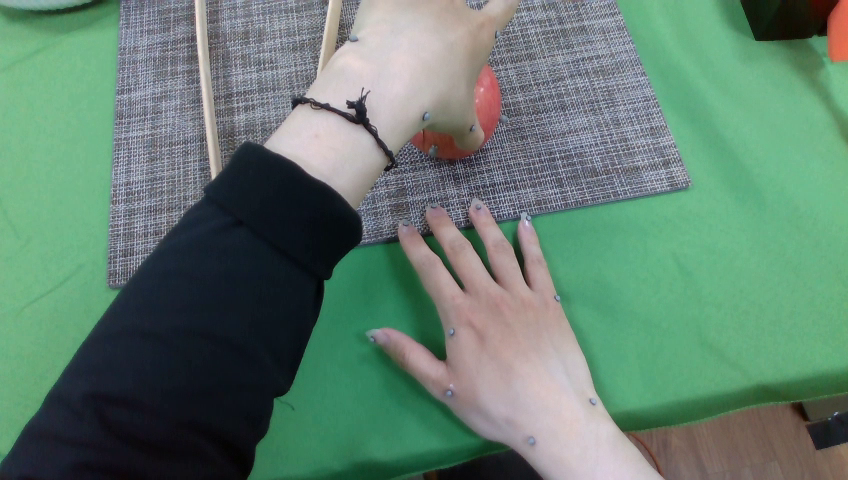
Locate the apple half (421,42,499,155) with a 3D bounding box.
[{"bbox_3d":[0.030,-0.103,0.462,0.053,0.075,0.080,10,61,3],"label":"apple half"}]

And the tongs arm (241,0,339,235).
[{"bbox_3d":[-0.102,-0.183,0.526,0.051,0.027,0.382,1,66,1],"label":"tongs arm"}]

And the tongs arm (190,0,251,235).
[{"bbox_3d":[-0.187,-0.176,0.526,0.028,0.028,0.384,-10,66,-8],"label":"tongs arm"}]

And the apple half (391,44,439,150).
[{"bbox_3d":[-0.008,-0.108,0.464,0.033,0.082,0.081,11,66,5],"label":"apple half"}]

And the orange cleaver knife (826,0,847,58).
[{"bbox_3d":[0.345,-0.174,0.480,0.012,0.077,0.212,-5,98,0],"label":"orange cleaver knife"}]

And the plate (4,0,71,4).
[{"bbox_3d":[-0.347,-0.302,0.586,0.209,0.038,0.207,0,65,1],"label":"plate"}]
